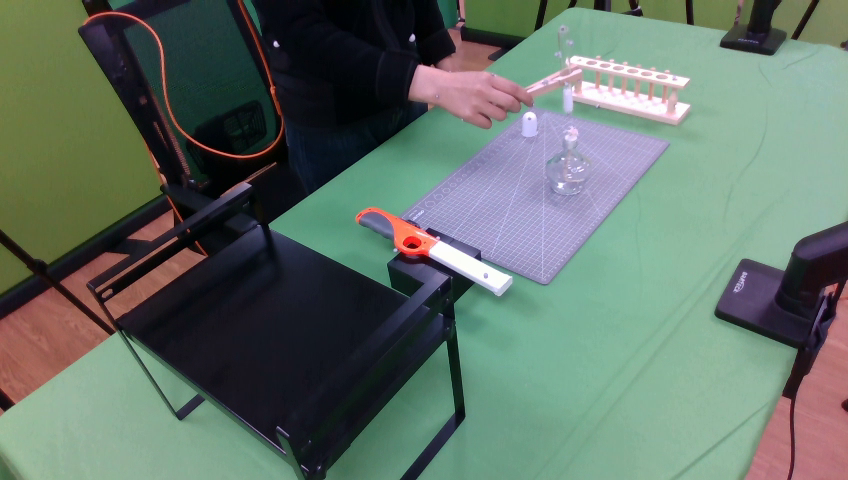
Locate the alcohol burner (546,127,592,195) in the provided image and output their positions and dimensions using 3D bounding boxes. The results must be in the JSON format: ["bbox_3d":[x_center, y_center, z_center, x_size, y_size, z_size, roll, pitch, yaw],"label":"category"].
[{"bbox_3d":[0.246,-0.137,1.024,0.078,0.119,0.077,-4,38,4],"label":"alcohol burner"}]

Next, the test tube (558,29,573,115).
[{"bbox_3d":[0.214,-0.250,0.913,0.017,0.151,0.017,-8,49,10],"label":"test tube"}]

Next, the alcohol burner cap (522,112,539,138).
[{"bbox_3d":[0.210,-0.230,1.195,0.034,0.048,0.033,-6,41,5],"label":"alcohol burner cap"}]

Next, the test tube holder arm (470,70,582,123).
[{"bbox_3d":[0.155,-0.217,0.916,0.178,0.015,0.013,-23,41,1],"label":"test tube holder arm"}]

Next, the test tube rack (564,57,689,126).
[{"bbox_3d":[0.411,-0.311,1.231,0.240,0.085,0.067,24,49,32],"label":"test tube rack"}]

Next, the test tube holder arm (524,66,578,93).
[{"bbox_3d":[0.194,-0.239,0.921,0.088,0.015,0.010,-27,41,-4],"label":"test tube holder arm"}]

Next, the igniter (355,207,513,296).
[{"bbox_3d":[0.006,0.010,0.885,0.274,0.025,0.057,27,53,30],"label":"igniter"}]
